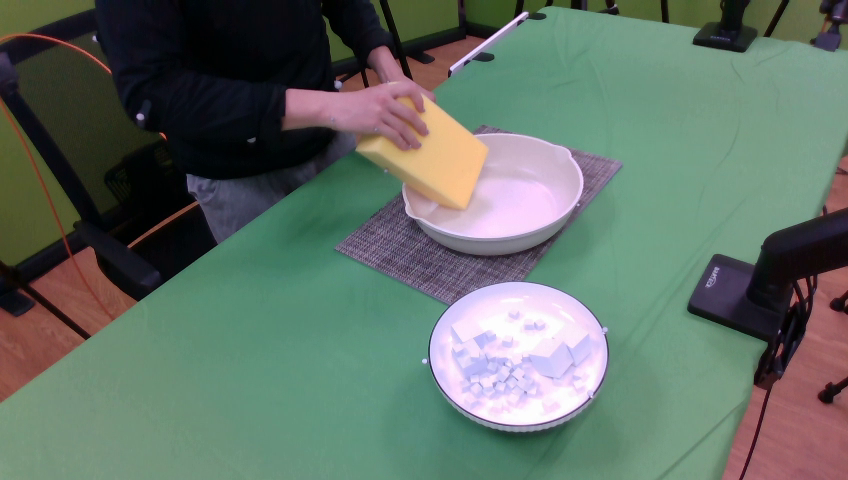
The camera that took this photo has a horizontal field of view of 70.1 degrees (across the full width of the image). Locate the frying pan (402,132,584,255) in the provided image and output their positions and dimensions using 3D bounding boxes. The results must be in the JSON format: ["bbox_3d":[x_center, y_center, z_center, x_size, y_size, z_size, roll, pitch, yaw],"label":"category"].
[{"bbox_3d":[0.063,-0.143,1.056,0.308,0.103,0.483,-22,51,-18],"label":"frying pan"}]

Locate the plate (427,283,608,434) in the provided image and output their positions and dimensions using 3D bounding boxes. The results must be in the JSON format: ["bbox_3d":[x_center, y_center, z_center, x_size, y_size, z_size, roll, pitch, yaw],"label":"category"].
[{"bbox_3d":[0.108,0.137,0.708,0.207,0.039,0.206,-4,42,4],"label":"plate"}]

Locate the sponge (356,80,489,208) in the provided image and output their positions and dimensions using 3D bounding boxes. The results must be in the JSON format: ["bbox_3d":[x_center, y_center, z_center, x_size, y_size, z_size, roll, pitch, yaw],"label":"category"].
[{"bbox_3d":[0.003,-0.148,0.972,0.060,0.209,0.118,12,76,49],"label":"sponge"}]
